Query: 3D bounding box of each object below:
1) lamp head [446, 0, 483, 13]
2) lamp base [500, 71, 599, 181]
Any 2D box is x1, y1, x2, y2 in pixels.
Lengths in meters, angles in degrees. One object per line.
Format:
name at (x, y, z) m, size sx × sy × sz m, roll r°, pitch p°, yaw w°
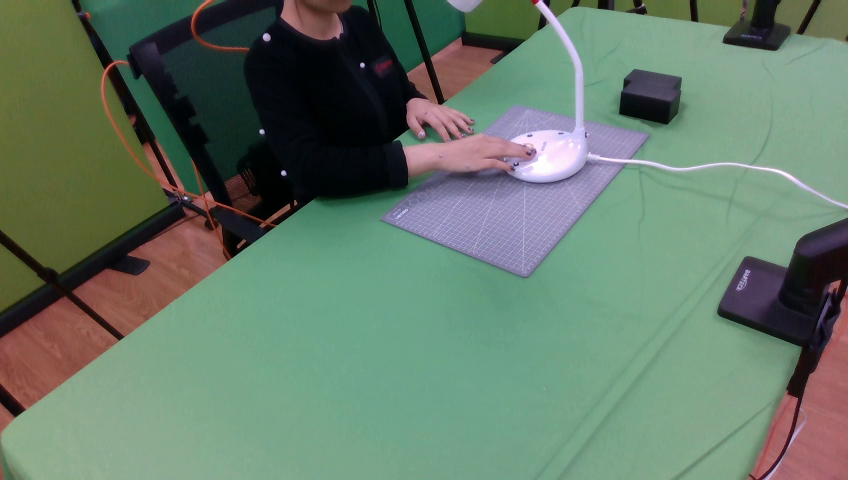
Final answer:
lamp head at (0.083, -0.422, 0.915) m, size 0.122 × 0.113 × 0.112 m, roll -21°, pitch 30°, yaw 36°
lamp base at (0.223, -0.217, 1.069) m, size 0.179 × 0.181 × 0.160 m, roll 2°, pitch 42°, yaw 10°
